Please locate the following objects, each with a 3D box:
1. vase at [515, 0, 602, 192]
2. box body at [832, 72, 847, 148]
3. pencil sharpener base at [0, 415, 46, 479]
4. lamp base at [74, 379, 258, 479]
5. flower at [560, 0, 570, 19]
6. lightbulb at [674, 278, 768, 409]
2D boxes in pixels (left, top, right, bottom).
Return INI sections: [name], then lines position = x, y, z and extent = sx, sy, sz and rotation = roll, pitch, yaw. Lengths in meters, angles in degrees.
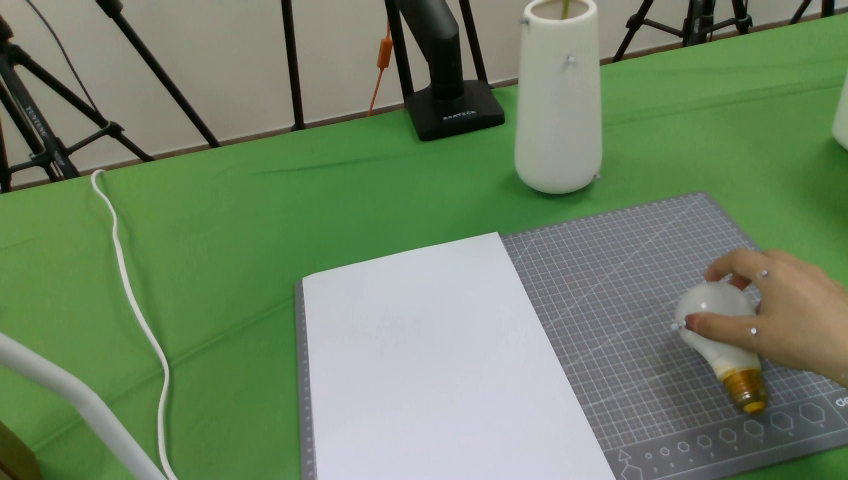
[vase]
position = 0.143, -0.150, 0.646
extent = 0.098, 0.202, 0.097
rotation = -6, 40, 6
[box body]
position = 0.594, -0.095, 0.530
extent = 0.254, 0.162, 0.360
rotation = -11, 41, -2
[pencil sharpener base]
position = -0.334, 0.167, 0.443
extent = 0.061, 0.108, 0.076
rotation = -33, 46, -24
[lamp base]
position = -0.142, 0.170, 0.348
extent = 0.160, 0.182, 0.177
rotation = -36, 43, -27
[flower]
position = 0.131, -0.197, 0.575
extent = 0.044, 0.365, 0.038
rotation = 26, 65, 17
[lightbulb]
position = 0.238, 0.081, 0.478
extent = 0.059, 0.060, 0.106
rotation = -10, 56, 0
